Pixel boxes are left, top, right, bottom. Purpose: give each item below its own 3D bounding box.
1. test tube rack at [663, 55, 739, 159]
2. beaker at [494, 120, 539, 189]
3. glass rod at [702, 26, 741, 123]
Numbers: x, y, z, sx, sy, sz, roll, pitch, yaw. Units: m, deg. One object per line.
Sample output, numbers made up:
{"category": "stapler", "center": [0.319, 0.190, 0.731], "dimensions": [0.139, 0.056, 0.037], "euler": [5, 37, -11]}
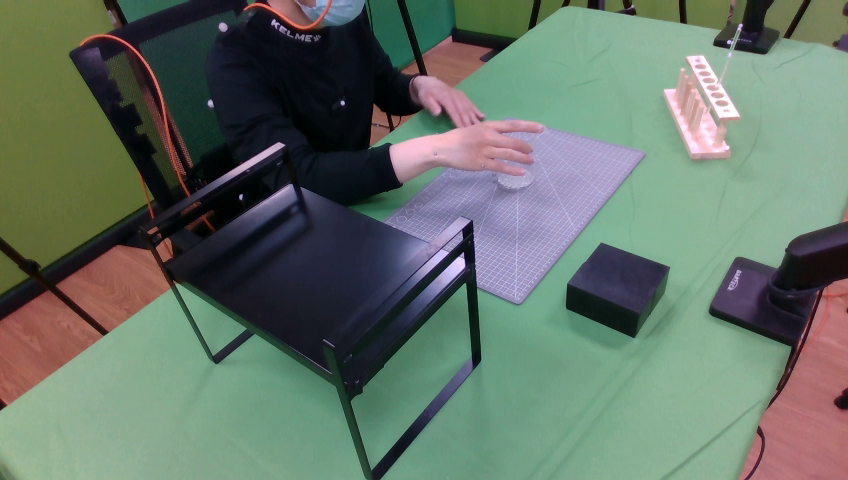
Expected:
{"category": "test tube rack", "center": [0.518, -0.256, 1.144], "dimensions": [0.066, 0.085, 0.241], "euler": [-1, 41, 8]}
{"category": "beaker", "center": [0.164, -0.148, 1.055], "dimensions": [0.084, 0.101, 0.073], "euler": [-23, 44, -18]}
{"category": "glass rod", "center": [0.528, -0.288, 1.078], "dimensions": [0.008, 0.200, 0.008], "euler": [-1, 49, 2]}
